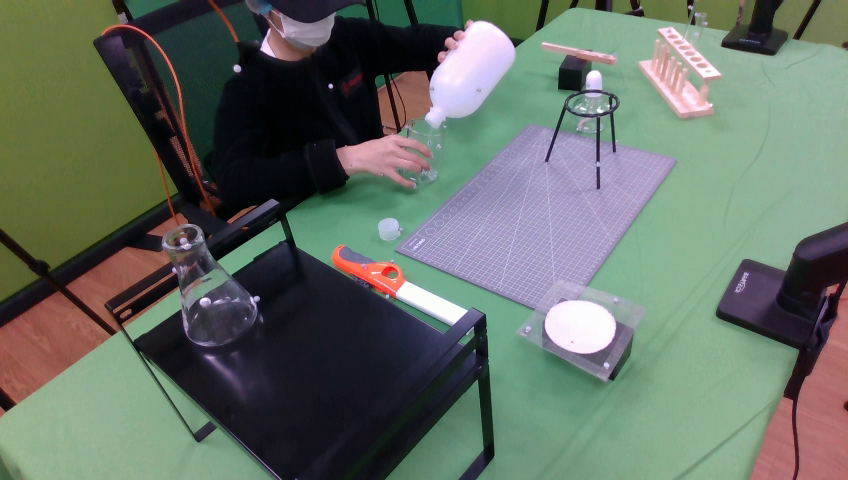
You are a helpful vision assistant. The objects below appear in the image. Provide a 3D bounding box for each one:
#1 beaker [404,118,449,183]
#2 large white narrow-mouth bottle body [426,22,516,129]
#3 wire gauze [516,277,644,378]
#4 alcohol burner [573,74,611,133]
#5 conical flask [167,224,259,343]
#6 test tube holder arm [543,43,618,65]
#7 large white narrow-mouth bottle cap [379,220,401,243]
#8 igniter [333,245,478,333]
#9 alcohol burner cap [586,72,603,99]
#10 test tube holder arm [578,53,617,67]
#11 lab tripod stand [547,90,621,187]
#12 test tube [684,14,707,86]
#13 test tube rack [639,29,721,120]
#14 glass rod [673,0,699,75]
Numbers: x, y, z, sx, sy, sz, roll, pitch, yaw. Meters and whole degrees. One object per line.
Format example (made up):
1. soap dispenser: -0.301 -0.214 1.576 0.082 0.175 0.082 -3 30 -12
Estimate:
1. beaker: 0.003 -0.164 1.108 0.073 0.100 0.084 25 37 21
2. large white narrow-mouth bottle body: 0.072 -0.284 1.080 0.101 0.102 0.194 35 87 39
3. wire gauze: 0.197 0.103 0.765 0.124 0.011 0.122 23 50 32
4. alcohol burner: 0.330 -0.270 1.176 0.078 0.119 0.077 -4 43 4
5. conical flask: -0.220 0.041 0.613 0.075 0.122 0.075 -5 40 4
6. test tube holder arm: 0.345 -0.413 1.341 0.177 0.015 0.013 25 50 31
7. large white narrow-mouth bottle cap: -0.057 -0.015 1.011 0.038 0.024 0.037 -4 40 4
8. igniter: -0.038 0.068 0.905 0.274 0.025 0.057 24 60 32
9. alcohol burner cap: 0.325 -0.297 1.154 0.034 0.048 0.033 -8 35 6
10. test tube holder arm: 0.376 -0.393 1.314 0.087 0.015 0.010 26 51 32
11. lab tripod stand: 0.289 -0.184 1.062 0.148 0.132 0.147 -6 41 6
12. test tube: 0.541 -0.379 1.216 0.017 0.151 0.017 -2 44 2
13. test tube rack: 0.527 -0.351 1.262 0.067 0.085 0.241 -8 40 1
14. glass rod: 0.541 -0.427 1.246 0.008 0.200 0.008 0 48 1
